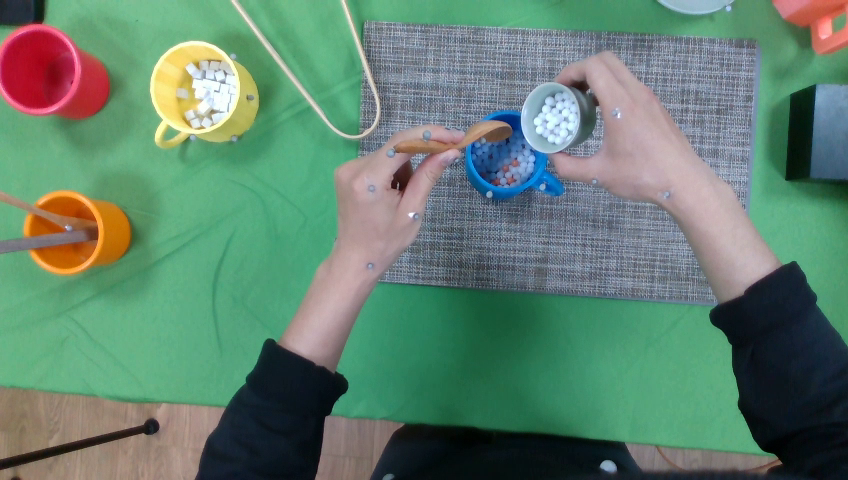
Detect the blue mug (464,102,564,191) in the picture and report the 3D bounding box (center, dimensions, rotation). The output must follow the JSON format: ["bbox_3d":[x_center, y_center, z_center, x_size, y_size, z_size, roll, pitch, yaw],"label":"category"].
[{"bbox_3d":[0.098,-0.089,0.652,0.116,0.106,0.082,31,93,1],"label":"blue mug"}]

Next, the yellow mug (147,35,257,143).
[{"bbox_3d":[-0.258,-0.160,0.685,0.100,0.064,0.131,42,94,0],"label":"yellow mug"}]

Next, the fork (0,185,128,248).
[{"bbox_3d":[-0.425,-0.041,0.655,0.209,0.018,0.028,32,88,-42],"label":"fork"}]

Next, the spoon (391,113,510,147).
[{"bbox_3d":[0.027,-0.088,0.495,0.041,0.194,0.022,-10,101,29],"label":"spoon"}]

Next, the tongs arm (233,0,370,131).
[{"bbox_3d":[-0.192,-0.276,0.673,0.051,0.026,0.386,-35,98,0],"label":"tongs arm"}]

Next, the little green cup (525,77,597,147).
[{"bbox_3d":[0.127,-0.115,0.552,0.061,0.039,0.062,6,103,29],"label":"little green cup"}]

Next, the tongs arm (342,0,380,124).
[{"bbox_3d":[-0.119,-0.318,0.671,0.028,0.027,0.388,-22,98,-5],"label":"tongs arm"}]

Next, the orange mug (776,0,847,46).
[{"bbox_3d":[0.434,-0.276,0.638,0.083,0.101,0.126,-6,88,3],"label":"orange mug"}]

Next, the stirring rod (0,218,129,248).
[{"bbox_3d":[-0.418,-0.005,0.663,0.177,0.006,0.014,-13,87,-39],"label":"stirring rod"}]

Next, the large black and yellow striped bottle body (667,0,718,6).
[{"bbox_3d":[0.299,-0.326,0.598,0.131,0.184,0.131,0,92,3],"label":"large black and yellow striped bottle body"}]
